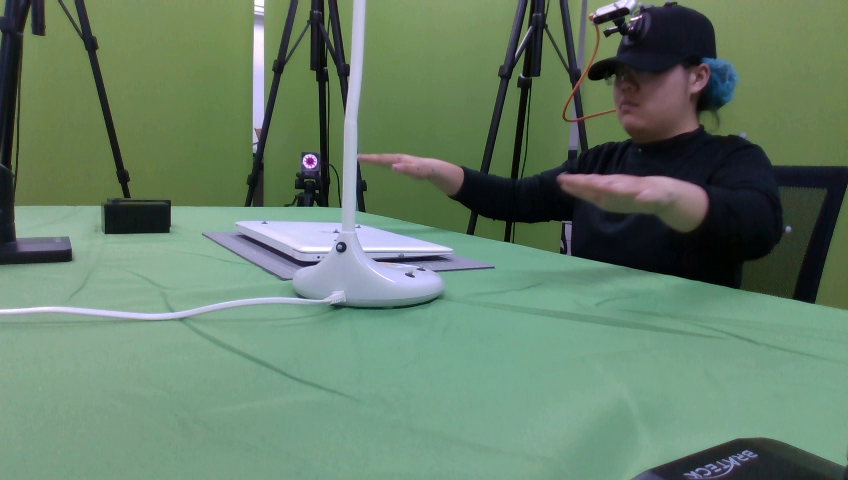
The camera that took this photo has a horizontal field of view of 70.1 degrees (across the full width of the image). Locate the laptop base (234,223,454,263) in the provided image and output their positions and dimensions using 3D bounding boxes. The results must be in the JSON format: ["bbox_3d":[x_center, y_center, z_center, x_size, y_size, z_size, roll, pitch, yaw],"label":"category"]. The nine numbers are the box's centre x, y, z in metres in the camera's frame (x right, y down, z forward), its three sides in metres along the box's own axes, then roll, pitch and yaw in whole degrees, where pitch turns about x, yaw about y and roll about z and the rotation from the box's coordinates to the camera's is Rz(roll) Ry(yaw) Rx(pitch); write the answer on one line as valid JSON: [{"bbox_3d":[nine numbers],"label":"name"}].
[{"bbox_3d":[-0.143,0.004,0.957,0.237,0.023,0.352,2,7,-32],"label":"laptop base"}]

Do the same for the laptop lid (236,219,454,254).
[{"bbox_3d":[-0.140,-0.009,0.957,0.243,0.013,0.355,1,7,-30],"label":"laptop lid"}]

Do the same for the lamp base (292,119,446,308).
[{"bbox_3d":[-0.056,-0.030,0.616,0.160,0.180,0.179,3,10,8],"label":"lamp base"}]
